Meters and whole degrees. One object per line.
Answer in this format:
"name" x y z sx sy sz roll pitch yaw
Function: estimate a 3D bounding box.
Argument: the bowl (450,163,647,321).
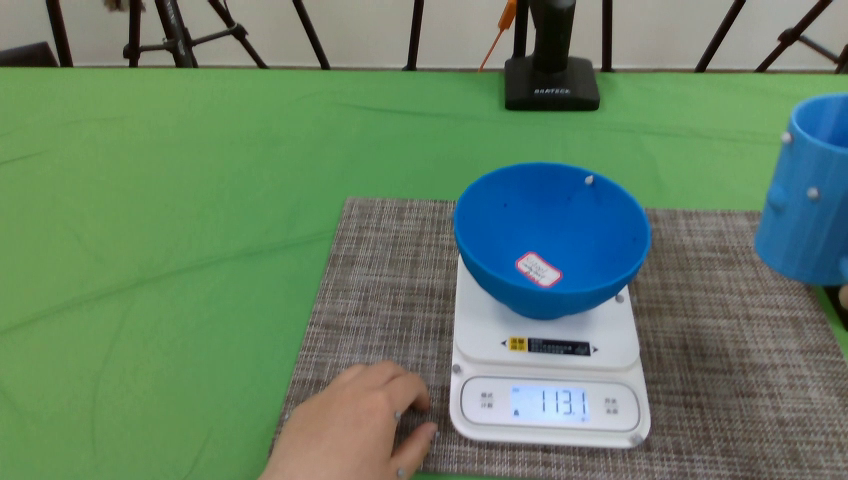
"bowl" 0.095 0.013 0.491 0.151 0.077 0.150 0 44 1

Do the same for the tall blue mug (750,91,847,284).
"tall blue mug" 0.281 -0.026 0.399 0.078 0.109 0.106 -25 42 -19

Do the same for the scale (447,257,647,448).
"scale" 0.098 0.073 0.506 0.148 0.032 0.199 2 44 5
